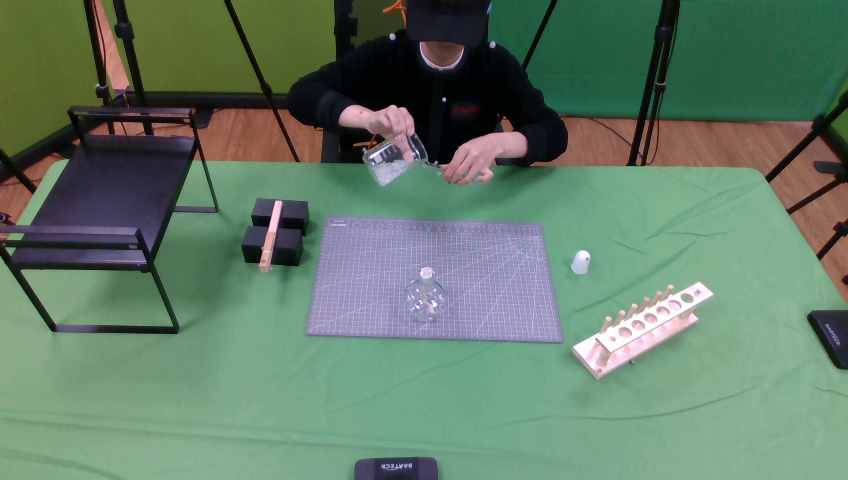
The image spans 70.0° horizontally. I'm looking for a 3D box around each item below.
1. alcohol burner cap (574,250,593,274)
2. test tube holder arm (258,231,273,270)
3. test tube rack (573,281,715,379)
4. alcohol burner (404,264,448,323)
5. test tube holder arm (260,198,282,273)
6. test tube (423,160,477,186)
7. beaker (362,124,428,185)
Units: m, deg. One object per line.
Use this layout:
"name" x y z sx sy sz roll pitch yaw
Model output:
"alcohol burner cap" 0.308 0.039 1.163 0.034 0.048 0.033 1 46 -1
"test tube holder arm" -0.282 0.017 1.086 0.015 0.010 0.087 -3 47 3
"test tube rack" 0.378 0.140 1.038 0.242 0.085 0.066 -22 51 -23
"alcohol burner" 0.003 0.087 1.042 0.078 0.120 0.077 1 45 0
"test tube holder arm" -0.282 -0.012 1.120 0.015 0.013 0.177 -3 48 3
"test tube" 0.053 -0.130 1.182 0.151 0.017 0.017 14 31 -46
"beaker" -0.052 -0.149 1.089 0.100 0.084 0.073 -32 48 -7
